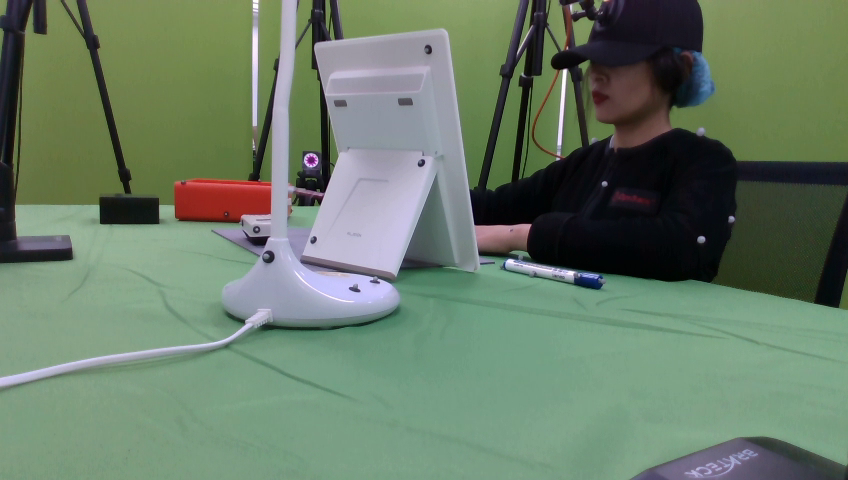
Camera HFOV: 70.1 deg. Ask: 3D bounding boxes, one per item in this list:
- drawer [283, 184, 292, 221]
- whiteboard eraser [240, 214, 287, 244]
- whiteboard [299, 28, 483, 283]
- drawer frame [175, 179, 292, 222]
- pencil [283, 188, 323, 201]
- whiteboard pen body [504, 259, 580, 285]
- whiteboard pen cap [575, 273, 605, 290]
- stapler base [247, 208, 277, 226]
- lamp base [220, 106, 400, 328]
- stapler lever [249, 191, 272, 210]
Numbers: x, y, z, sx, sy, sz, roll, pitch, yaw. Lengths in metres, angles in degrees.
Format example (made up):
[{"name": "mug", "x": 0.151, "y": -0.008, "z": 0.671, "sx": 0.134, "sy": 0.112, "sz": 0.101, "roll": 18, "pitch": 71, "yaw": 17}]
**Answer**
[{"name": "drawer", "x": -0.397, "y": -0.086, "z": 1.314, "sx": 0.212, "sy": 0.073, "sz": 0.194, "roll": 1, "pitch": 8, "yaw": -9}, {"name": "whiteboard eraser", "x": -0.256, "y": -0.018, "z": 0.958, "sx": 0.056, "sy": 0.042, "sz": 0.112, "roll": 0, "pitch": 8, "yaw": -25}, {"name": "whiteboard", "x": -0.075, "y": -0.082, "z": 0.741, "sx": 0.216, "sy": 0.305, "sz": 0.144, "roll": 9, "pitch": 30, "yaw": 38}, {"name": "drawer frame", "x": -0.402, "y": -0.087, "z": 1.311, "sx": 0.214, "sy": 0.082, "sz": 0.201, "roll": 1, "pitch": 8, "yaw": -9}, {"name": "pencil", "x": -0.178, "y": -0.074, "z": 1.107, "sx": 0.195, "sy": 0.012, "sz": 0.012, "roll": 9, "pitch": 4, "yaw": -27}, {"name": "whiteboard pen body", "x": 0.157, "y": 0.042, "z": 0.764, "sx": 0.017, "sy": 0.017, "sz": 0.140, "roll": -4, "pitch": 10, "yaw": -41}, {"name": "whiteboard pen cap", "x": 0.197, "y": 0.048, "z": 0.719, "sx": 0.018, "sy": 0.018, "sz": 0.033, "roll": -4, "pitch": 11, "yaw": -41}, {"name": "stapler base", "x": -0.351, "y": -0.054, "z": 1.310, "sx": 0.041, "sy": 0.024, "sz": 0.130, "roll": -1, "pitch": 12, "yaw": -3}, {"name": "lamp base", "x": -0.101, "y": -0.023, "z": 0.531, "sx": 0.160, "sy": 0.180, "sz": 0.179, "roll": 4, "pitch": 10, "yaw": 10}, {"name": "stapler lever", "x": -0.352, "y": -0.086, "z": 1.306, "sx": 0.027, "sy": 0.040, "sz": 0.118, "roll": -1, "pitch": 5, "yaw": -3}]
